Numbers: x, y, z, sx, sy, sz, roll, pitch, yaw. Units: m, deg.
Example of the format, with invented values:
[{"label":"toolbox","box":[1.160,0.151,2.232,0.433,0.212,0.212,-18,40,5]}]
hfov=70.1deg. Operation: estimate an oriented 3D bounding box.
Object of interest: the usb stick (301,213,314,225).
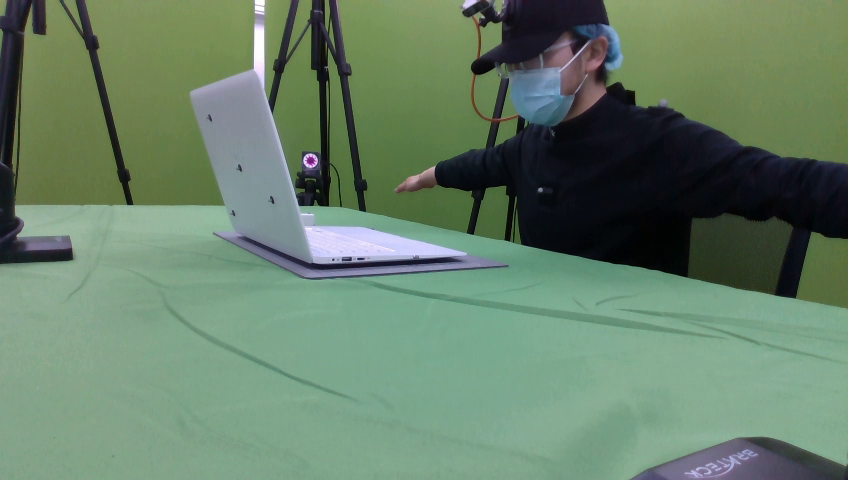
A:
[{"label":"usb stick","box":[-0.255,-0.042,1.232,0.059,0.027,0.021,-7,13,-41]}]

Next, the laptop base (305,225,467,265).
[{"label":"laptop base","box":[-0.126,0.005,0.937,0.237,0.023,0.352,2,7,-33]}]

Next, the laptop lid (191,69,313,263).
[{"label":"laptop lid","box":[-0.252,-0.102,0.839,0.013,0.242,0.355,-22,20,-28]}]
